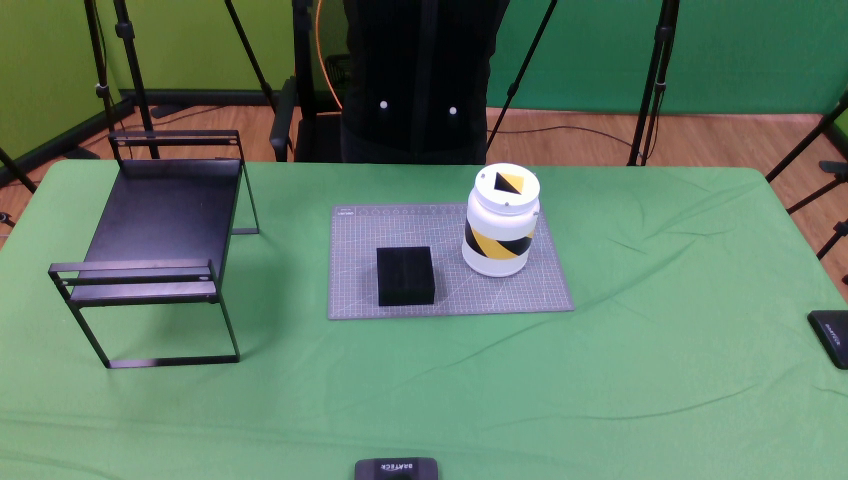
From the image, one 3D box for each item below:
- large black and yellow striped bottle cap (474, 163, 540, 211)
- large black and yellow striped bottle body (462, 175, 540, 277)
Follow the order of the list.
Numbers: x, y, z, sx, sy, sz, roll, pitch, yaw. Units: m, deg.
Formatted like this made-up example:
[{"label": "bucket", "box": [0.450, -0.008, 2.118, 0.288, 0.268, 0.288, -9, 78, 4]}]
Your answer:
[{"label": "large black and yellow striped bottle cap", "box": [0.146, -0.095, 1.064, 0.115, 0.019, 0.114, 3, 46, -3]}, {"label": "large black and yellow striped bottle body", "box": [0.143, -0.035, 1.124, 0.131, 0.185, 0.130, 2, 46, -2]}]
